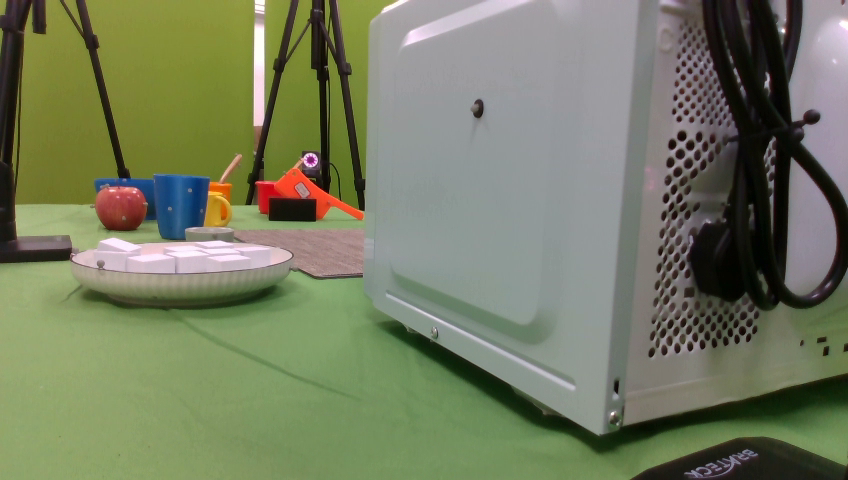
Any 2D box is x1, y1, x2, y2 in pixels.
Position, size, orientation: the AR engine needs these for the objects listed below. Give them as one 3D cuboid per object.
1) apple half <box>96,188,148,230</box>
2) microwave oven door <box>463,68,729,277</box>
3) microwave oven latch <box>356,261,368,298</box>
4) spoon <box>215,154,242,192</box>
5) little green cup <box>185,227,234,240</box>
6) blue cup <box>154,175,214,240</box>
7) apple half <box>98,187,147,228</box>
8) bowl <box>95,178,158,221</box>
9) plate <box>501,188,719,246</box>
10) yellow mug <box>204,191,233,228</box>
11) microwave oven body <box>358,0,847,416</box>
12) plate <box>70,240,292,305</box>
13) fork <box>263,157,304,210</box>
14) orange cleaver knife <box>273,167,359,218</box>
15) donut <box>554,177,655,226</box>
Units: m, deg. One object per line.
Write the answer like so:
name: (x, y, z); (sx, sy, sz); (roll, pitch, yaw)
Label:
apple half: (-0.517, -0.052, 1.036); (0.081, 0.074, 0.053); (2, 10, -26)
microwave oven door: (0.205, -0.096, 0.811); (0.354, 0.243, 0.039); (9, 11, 40)
microwave oven latch: (-0.019, 0.033, 0.529); (0.079, 0.029, 0.030); (0, 7, -25)
spoon: (-0.438, -0.124, 1.318); (0.041, 0.193, 0.022); (6, -36, 15)
little green cup: (-0.285, 0.005, 0.805); (0.061, 0.038, 0.061); (2, 8, 0)
blue cup: (-0.390, -0.053, 0.977); (0.093, 0.100, 0.092); (3, 6, 0)
apple half: (-0.534, -0.059, 1.071); (0.082, 0.081, 0.032); (-1, 11, -25)
bowl: (-0.576, -0.081, 1.217); (0.151, 0.077, 0.151); (3, 8, 0)
plate: (0.180, -0.025, 0.607); (0.209, 0.038, 0.209); (1, 10, 0)
yellow mug: (-0.415, -0.057, 1.132); (0.130, 0.064, 0.100); (6, 8, 16)
microwave oven body: (0.211, -0.047, 0.474); (0.444, 0.260, 0.324); (-1, 7, -28)
plate: (-0.242, 0.031, 0.618); (0.208, 0.039, 0.207); (2, 8, 0)
fork: (-0.345, -0.143, 1.505); (0.028, 0.019, 0.207); (-4, 46, 28)
orange cleaver knife: (-0.238, -0.091, 1.381); (0.212, 0.077, 0.012); (31, 0, -19)
donut: (0.181, -0.038, 0.611); (0.099, 0.048, 0.099); (1, 9, 0)
